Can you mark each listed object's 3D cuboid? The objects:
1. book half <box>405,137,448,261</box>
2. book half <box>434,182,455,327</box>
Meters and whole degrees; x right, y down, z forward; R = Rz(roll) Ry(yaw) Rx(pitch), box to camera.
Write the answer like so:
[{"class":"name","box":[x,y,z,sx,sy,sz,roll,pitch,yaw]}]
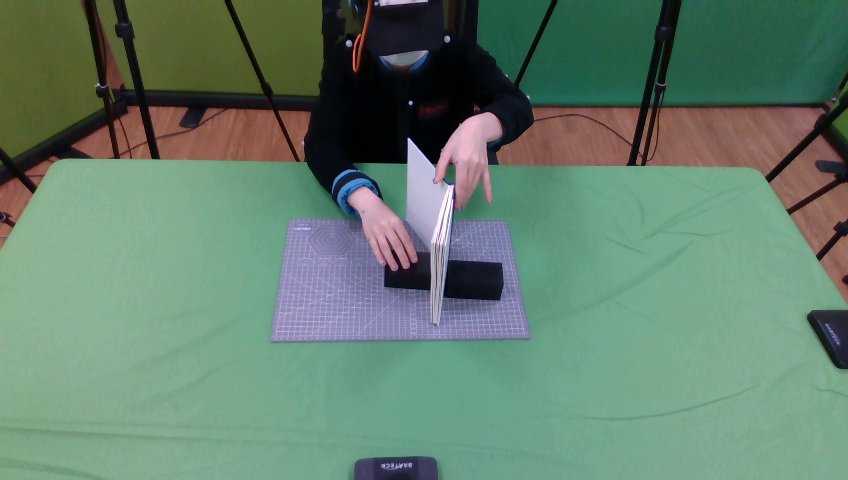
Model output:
[{"class":"book half","box":[0.000,-0.068,1.127,0.007,0.211,0.142,-21,51,-21]},{"class":"book half","box":[0.034,0.028,1.036,0.016,0.211,0.148,7,46,4]}]
